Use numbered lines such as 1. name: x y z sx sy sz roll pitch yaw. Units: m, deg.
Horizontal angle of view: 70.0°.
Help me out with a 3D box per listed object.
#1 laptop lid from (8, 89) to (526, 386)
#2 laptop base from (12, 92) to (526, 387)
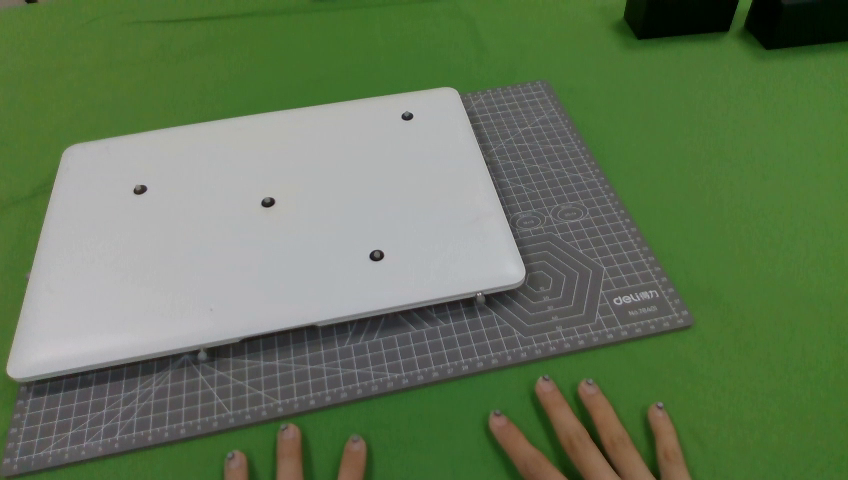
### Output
1. laptop lid: -0.120 -0.023 0.476 0.357 0.013 0.239 -9 51 -4
2. laptop base: -0.119 -0.017 0.486 0.355 0.023 0.233 -10 52 -6
